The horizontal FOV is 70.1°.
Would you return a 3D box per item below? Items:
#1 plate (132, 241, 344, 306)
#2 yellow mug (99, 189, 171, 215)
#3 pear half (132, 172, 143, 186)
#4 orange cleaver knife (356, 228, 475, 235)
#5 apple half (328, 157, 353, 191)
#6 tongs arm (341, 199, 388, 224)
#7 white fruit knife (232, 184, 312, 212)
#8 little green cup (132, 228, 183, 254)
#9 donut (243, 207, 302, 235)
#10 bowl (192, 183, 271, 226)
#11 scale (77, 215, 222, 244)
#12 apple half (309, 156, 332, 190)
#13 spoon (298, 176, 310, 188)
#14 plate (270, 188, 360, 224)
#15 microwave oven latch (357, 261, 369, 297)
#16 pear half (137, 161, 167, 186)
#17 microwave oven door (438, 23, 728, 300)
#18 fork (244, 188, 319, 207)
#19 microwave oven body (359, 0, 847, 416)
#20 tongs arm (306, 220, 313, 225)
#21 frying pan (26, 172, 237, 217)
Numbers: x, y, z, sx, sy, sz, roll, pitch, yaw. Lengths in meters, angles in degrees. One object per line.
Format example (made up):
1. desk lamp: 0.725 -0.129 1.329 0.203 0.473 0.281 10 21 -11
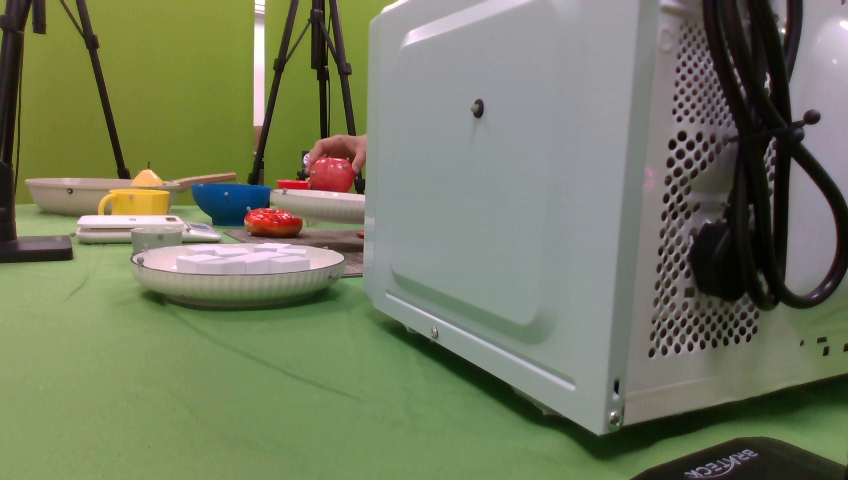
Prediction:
1. plate: -0.187 0.033 0.625 0.208 0.039 0.207 2 7 0
2. yellow mug: -0.519 -0.055 1.080 0.099 0.064 0.131 7 9 26
3. pear half: -0.638 -0.113 1.361 0.031 0.088 0.070 5 10 4
4. orange cleaver knife: -0.016 -0.015 1.080 0.211 0.012 0.077 -1 1 -3
5. apple half: -0.147 -0.118 1.113 0.033 0.081 0.081 -3 6 15
6. tongs arm: -0.148 -0.070 1.429 0.051 0.026 0.383 -4 9 -14
7. white fruit knife: -0.364 -0.105 1.464 0.208 0.027 0.016 15 0 -34
8. little green cup: -0.342 0.006 0.779 0.061 0.038 0.061 2 8 0
9. donut: -0.261 -0.032 1.043 0.099 0.048 0.099 4 9 0
10. bowl: -0.382 -0.071 1.202 0.151 0.077 0.151 3 7 0
11. scale: -0.434 -0.019 0.963 0.202 0.031 0.148 -1 9 -27
12. apple half: -0.184 -0.116 1.122 0.053 0.074 0.081 -3 7 14
13. spoon: -0.316 -0.159 1.640 0.194 0.022 0.041 -49 32 -20
14. plate: -0.130 -0.053 0.927 0.209 0.038 0.209 5 7 0
15. microwave oven latch: -0.019 0.033 0.530 0.079 0.029 0.030 -1 7 -26
16. pear half: -0.602 -0.120 1.354 0.056 0.110 0.076 4 11 6
17. microwave oven door: 0.181 -0.073 0.621 0.358 0.243 0.039 -2 8 -29
18. fork: -0.356 -0.105 1.526 0.208 0.018 0.028 16 -6 -41
19. microwave oven body: 0.211 -0.047 0.474 0.444 0.260 0.324 -1 7 -28
20. tongs arm: -0.234 -0.069 1.414 0.028 0.028 0.387 -5 8 1
21. frying pan: -0.624 -0.118 1.387 0.305 0.102 0.490 8 17 32
